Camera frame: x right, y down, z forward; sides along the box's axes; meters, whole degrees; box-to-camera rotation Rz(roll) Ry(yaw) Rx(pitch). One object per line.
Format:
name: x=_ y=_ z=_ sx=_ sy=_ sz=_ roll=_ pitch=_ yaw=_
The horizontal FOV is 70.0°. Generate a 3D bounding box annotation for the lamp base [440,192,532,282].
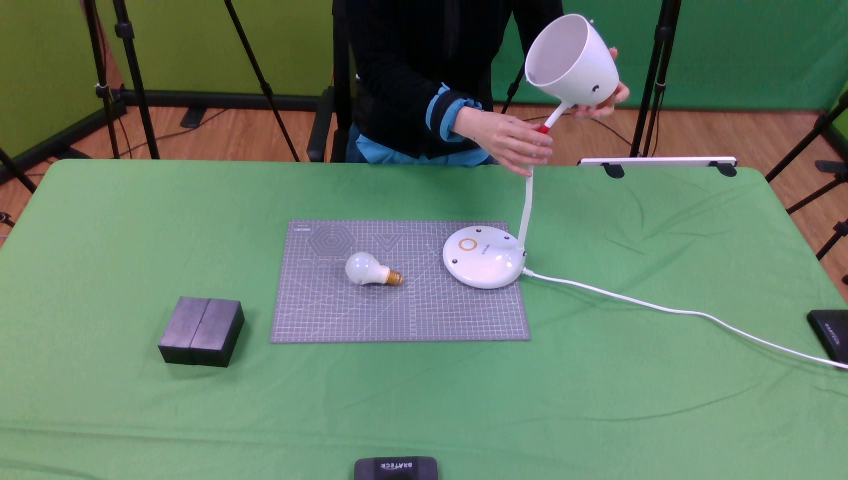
lamp base: x=0.127 y=-0.032 z=1.123 sx=0.179 sy=0.181 sz=0.159 roll=11 pitch=46 yaw=2

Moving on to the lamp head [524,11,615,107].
lamp head: x=0.221 y=-0.249 z=0.887 sx=0.112 sy=0.123 sz=0.111 roll=-25 pitch=46 yaw=29

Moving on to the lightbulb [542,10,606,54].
lightbulb: x=0.217 y=-0.301 z=0.864 sx=0.108 sy=0.060 sz=0.059 roll=-21 pitch=51 yaw=-24
